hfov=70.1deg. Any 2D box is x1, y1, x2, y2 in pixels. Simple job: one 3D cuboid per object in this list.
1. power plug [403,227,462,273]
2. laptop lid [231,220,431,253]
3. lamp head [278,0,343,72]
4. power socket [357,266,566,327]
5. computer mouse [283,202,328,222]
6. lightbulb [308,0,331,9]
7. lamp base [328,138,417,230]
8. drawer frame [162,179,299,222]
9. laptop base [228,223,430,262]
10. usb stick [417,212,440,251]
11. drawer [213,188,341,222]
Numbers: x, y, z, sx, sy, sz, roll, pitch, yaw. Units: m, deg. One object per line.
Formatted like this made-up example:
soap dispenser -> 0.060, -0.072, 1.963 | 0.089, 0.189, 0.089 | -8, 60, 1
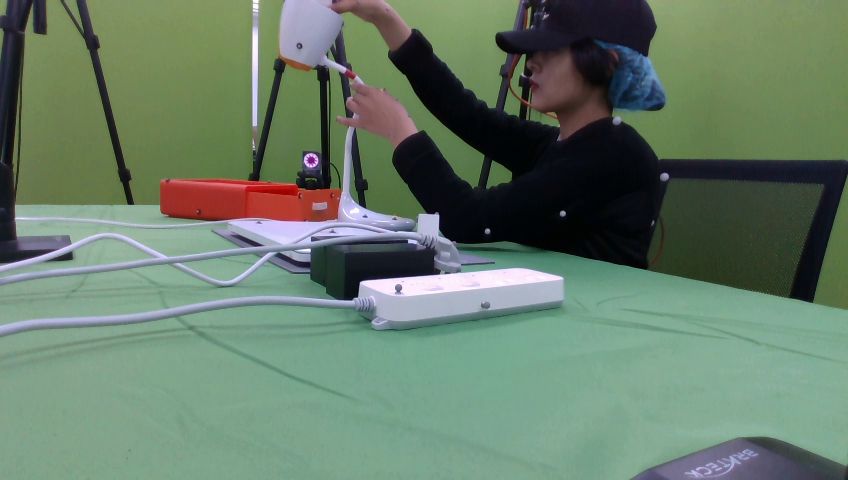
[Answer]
power plug -> 0.006, 0.015, 0.647 | 0.073, 0.052, 0.035 | 18, 12, -6
laptop lid -> -0.142, -0.009, 0.942 | 0.243, 0.013, 0.355 | 1, 7, -31
lamp head -> -0.218, -0.376, 1.125 | 0.112, 0.123, 0.112 | 17, 10, -3
power socket -> 0.042, 0.049, 0.573 | 0.228, 0.032, 0.072 | -3, 8, -34
computer mouse -> -0.251, -0.060, 1.287 | 0.063, 0.041, 0.117 | 3, 4, 11
lightbulb -> -0.206, -0.421, 1.120 | 0.059, 0.107, 0.059 | 12, 7, -1
lamp base -> -0.104, -0.113, 1.212 | 0.180, 0.180, 0.160 | -2, 7, -14
drawer frame -> -0.418, -0.089, 1.329 | 0.213, 0.082, 0.202 | 4, 8, 18
laptop base -> -0.145, 0.003, 0.943 | 0.237, 0.023, 0.352 | 2, 6, -32
usb stick -> 0.005, -0.004, 0.721 | 0.027, 0.059, 0.021 | 0, -3, -3
drawer -> -0.312, -0.078, 1.296 | 0.211, 0.073, 0.195 | 4, 9, 17
